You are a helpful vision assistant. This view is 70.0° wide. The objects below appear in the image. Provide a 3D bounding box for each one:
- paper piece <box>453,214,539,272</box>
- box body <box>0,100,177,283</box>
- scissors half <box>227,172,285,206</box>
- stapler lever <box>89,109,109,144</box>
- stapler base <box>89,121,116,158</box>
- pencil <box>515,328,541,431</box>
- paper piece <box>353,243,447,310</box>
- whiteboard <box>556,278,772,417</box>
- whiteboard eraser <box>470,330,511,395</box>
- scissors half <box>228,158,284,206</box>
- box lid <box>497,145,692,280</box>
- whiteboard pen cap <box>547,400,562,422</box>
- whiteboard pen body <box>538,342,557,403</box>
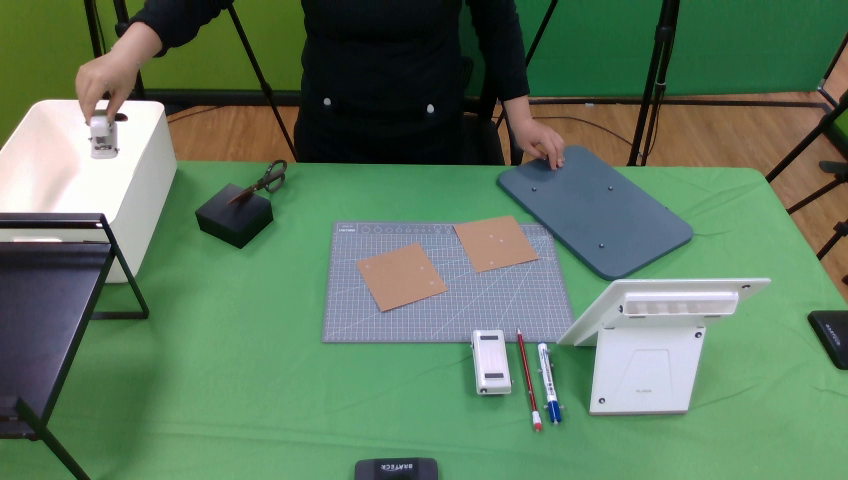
[{"bbox_3d":[0.142,0.003,1.213,0.135,0.004,0.135,-11,47,-14],"label":"paper piece"},{"bbox_3d":[-0.639,-0.095,1.140,0.254,0.161,0.361,0,46,-4],"label":"box body"},{"bbox_3d":[-0.338,-0.100,1.231,0.013,0.040,0.175,14,27,22],"label":"scissors half"},{"bbox_3d":[-0.549,-0.202,1.026,0.027,0.040,0.117,-5,36,-24],"label":"stapler lever"},{"bbox_3d":[-0.552,-0.180,1.039,0.041,0.024,0.129,-5,36,-24],"label":"stapler base"},{"bbox_3d":[0.169,0.224,1.002,0.012,0.012,0.192,-2,46,-6],"label":"pencil"},{"bbox_3d":[-0.045,0.066,1.137,0.136,0.009,0.137,-14,47,-22],"label":"paper piece"},{"bbox_3d":[0.347,0.174,0.903,0.217,0.306,0.143,1,65,-4],"label":"whiteboard"},{"bbox_3d":[0.109,0.202,0.998,0.055,0.042,0.112,1,46,-5],"label":"whiteboard eraser"},{"bbox_3d":[-0.338,-0.117,1.219,0.013,0.040,0.174,18,45,18],"label":"scissors half"},{"bbox_3d":[0.360,-0.073,1.304,0.263,0.015,0.369,-24,51,-25],"label":"box lid"},{"bbox_3d":[0.205,0.269,0.956,0.018,0.018,0.033,0,47,-5],"label":"whiteboard pen cap"},{"bbox_3d":[0.205,0.228,0.997,0.017,0.017,0.140,1,46,-3],"label":"whiteboard pen body"}]
